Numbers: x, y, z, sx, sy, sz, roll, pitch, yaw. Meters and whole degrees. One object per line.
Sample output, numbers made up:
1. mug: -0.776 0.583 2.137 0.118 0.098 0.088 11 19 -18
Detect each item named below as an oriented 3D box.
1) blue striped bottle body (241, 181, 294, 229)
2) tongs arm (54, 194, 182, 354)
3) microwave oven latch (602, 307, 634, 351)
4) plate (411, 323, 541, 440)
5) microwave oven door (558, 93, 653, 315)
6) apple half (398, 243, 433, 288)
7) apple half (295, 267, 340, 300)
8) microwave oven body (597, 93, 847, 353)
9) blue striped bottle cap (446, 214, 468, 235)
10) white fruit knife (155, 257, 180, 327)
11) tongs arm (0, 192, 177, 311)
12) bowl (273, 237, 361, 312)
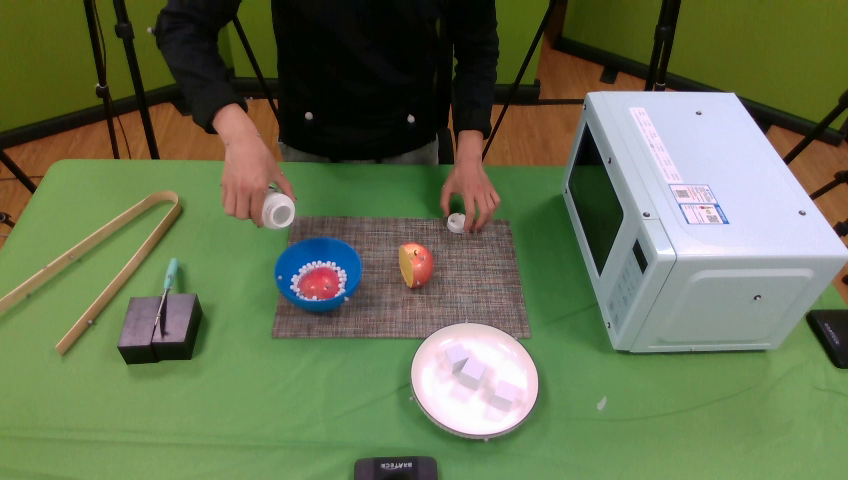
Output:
1. blue striped bottle body: -0.264 -0.058 1.036 0.063 0.063 0.120 -24 31 -26
2. tongs arm: -0.543 0.048 1.107 0.028 0.028 0.385 11 45 10
3. microwave oven latch: 0.332 0.153 1.044 0.030 0.029 0.078 -1 45 -4
4. plate: 0.082 0.228 0.976 0.208 0.039 0.206 2 45 -2
5. microwave oven door: 0.327 -0.074 1.123 0.039 0.245 0.353 -1 46 -5
6. apple half: -0.012 0.046 1.115 0.053 0.075 0.080 -11 44 -19
7. apple half: -0.187 0.070 1.067 0.081 0.033 0.081 3 47 -3
8. microwave oven body: 0.475 -0.041 1.109 0.326 0.261 0.438 -1 45 -4
9. blue striped bottle cap: 0.068 -0.033 1.239 0.044 0.021 0.044 0 46 0
10. white fruit knife: -0.440 0.085 1.037 0.016 0.027 0.206 10 26 -19
11. tongs arm: -0.618 0.019 1.124 0.050 0.026 0.384 24 47 17
12. bowl: -0.185 0.074 1.069 0.151 0.077 0.150 3 46 -3
